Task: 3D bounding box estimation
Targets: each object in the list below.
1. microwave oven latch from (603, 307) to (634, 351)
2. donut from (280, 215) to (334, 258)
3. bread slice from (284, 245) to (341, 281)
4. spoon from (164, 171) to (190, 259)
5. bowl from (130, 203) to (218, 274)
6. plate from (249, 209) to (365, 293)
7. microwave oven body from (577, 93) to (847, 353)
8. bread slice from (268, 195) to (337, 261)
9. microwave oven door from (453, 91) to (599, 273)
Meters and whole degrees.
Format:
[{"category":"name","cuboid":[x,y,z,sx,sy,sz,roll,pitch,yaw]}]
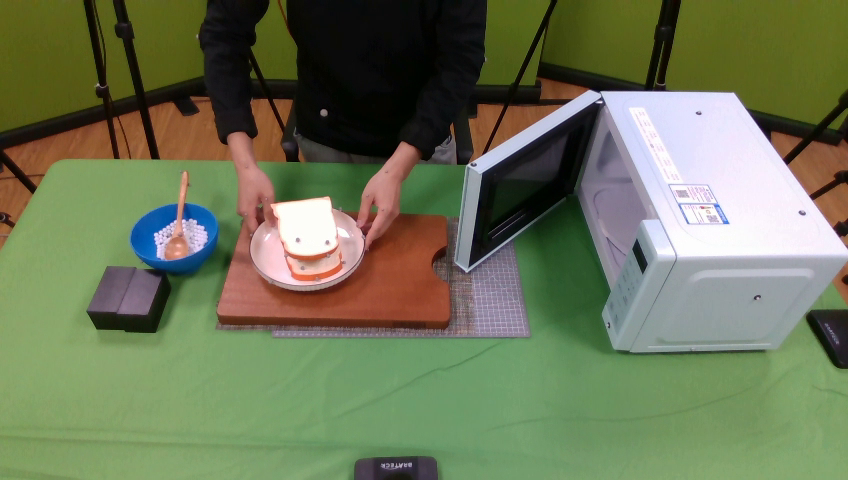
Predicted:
[{"category":"microwave oven latch","cuboid":[0.332,0.153,1.044,0.030,0.029,0.078,0,45,-4]},{"category":"donut","cuboid":[-0.212,-0.006,1.099,0.099,0.048,0.098,-2,42,2]},{"category":"bread slice","cuboid":[-0.205,0.022,1.116,0.105,0.019,0.130,-12,45,-14]},{"category":"spoon","cuboid":[-0.452,-0.046,1.129,0.041,0.022,0.193,0,68,-4]},{"category":"bowl","cuboid":[-0.450,0.010,1.116,0.151,0.077,0.150,3,45,-2]},{"category":"plate","cuboid":[-0.213,0.020,1.113,0.208,0.039,0.206,3,45,-2]},{"category":"microwave oven body","cuboid":[0.475,-0.041,1.109,0.326,0.261,0.438,-1,45,-4]},{"category":"bread slice","cuboid":[-0.207,-0.021,1.072,0.107,0.018,0.133,-13,55,-18]},{"category":"microwave oven door","cuboid":[0.198,-0.115,1.153,0.356,0.245,0.039,-34,57,-31]}]
